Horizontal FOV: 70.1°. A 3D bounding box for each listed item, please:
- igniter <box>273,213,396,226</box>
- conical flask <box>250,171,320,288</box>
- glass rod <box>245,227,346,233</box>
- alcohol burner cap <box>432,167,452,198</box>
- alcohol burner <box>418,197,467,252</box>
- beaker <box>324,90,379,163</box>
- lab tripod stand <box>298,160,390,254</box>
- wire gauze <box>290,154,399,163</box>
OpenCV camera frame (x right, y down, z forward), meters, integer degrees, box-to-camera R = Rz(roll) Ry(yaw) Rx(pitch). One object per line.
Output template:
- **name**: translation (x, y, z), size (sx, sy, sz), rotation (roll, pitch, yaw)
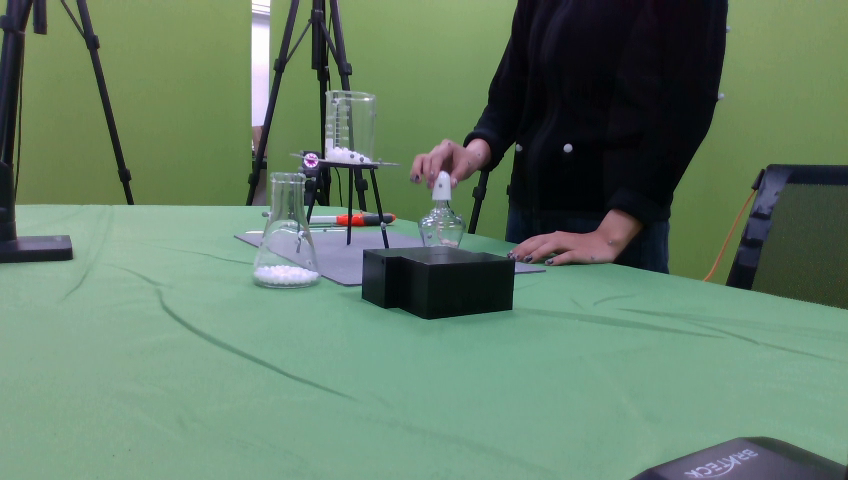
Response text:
- **igniter**: translation (-0.179, -0.043, 1.258), size (0.278, 0.025, 0.057), rotation (-3, -1, -39)
- **conical flask**: translation (-0.150, -0.013, 0.658), size (0.075, 0.122, 0.075), rotation (2, 7, 0)
- **glass rod**: translation (-0.236, -0.021, 1.140), size (0.201, 0.008, 0.008), rotation (-3, 8, -33)
- **alcohol burner cap**: translation (0.028, -0.090, 0.947), size (0.034, 0.048, 0.034), rotation (-1, 8, 0)
- **alcohol burner**: translation (0.029, -0.042, 0.954), size (0.078, 0.119, 0.078), rotation (0, 6, 0)
- **beaker**: translation (-0.110, -0.162, 0.879), size (0.083, 0.100, 0.074), rotation (8, 7, 36)
- **lab tripod stand**: translation (-0.111, -0.050, 0.893), size (0.148, 0.131, 0.148), rotation (4, 6, 0)
- **wire gauze**: translation (-0.112, -0.114, 0.883), size (0.124, 0.011, 0.122), rotation (5, 5, 28)
